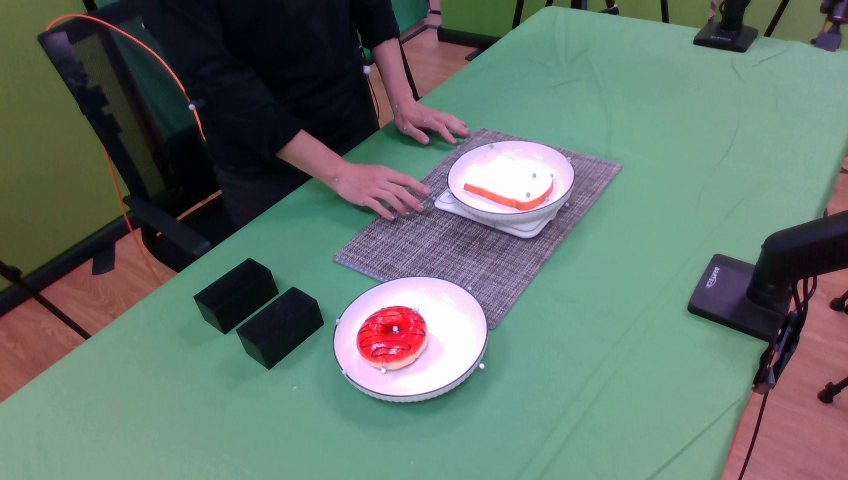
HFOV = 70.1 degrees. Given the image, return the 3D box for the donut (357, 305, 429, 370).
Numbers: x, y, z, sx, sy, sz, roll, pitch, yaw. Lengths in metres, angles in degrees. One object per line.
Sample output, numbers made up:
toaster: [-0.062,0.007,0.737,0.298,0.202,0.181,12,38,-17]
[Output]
donut: [-0.041,0.127,0.798,0.099,0.048,0.098,-7,40,7]

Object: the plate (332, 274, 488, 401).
plate: [-0.017,0.130,0.808,0.207,0.039,0.206,-4,41,4]

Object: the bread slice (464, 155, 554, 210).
bread slice: [0.149,-0.095,0.998,0.130,0.019,0.105,25,51,32]

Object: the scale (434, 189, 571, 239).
scale: [0.132,-0.075,1.025,0.199,0.032,0.149,22,48,30]

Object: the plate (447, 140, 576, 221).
plate: [0.143,-0.094,0.995,0.209,0.038,0.208,-4,41,4]
